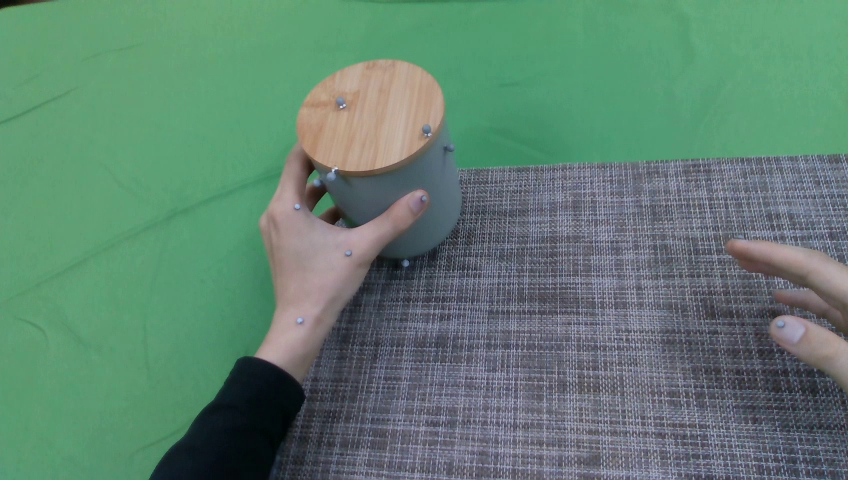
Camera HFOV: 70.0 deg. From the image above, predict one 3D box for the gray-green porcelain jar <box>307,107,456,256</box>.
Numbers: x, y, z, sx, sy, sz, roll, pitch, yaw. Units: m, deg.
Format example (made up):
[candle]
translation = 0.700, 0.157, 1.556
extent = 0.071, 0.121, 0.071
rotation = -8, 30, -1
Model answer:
[gray-green porcelain jar]
translation = -0.031, -0.056, 0.490
extent = 0.106, 0.128, 0.105
rotation = -5, 56, 8

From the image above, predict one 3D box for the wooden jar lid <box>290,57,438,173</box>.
[wooden jar lid]
translation = -0.042, -0.089, 0.439
extent = 0.108, 0.021, 0.107
rotation = -4, 59, 7
